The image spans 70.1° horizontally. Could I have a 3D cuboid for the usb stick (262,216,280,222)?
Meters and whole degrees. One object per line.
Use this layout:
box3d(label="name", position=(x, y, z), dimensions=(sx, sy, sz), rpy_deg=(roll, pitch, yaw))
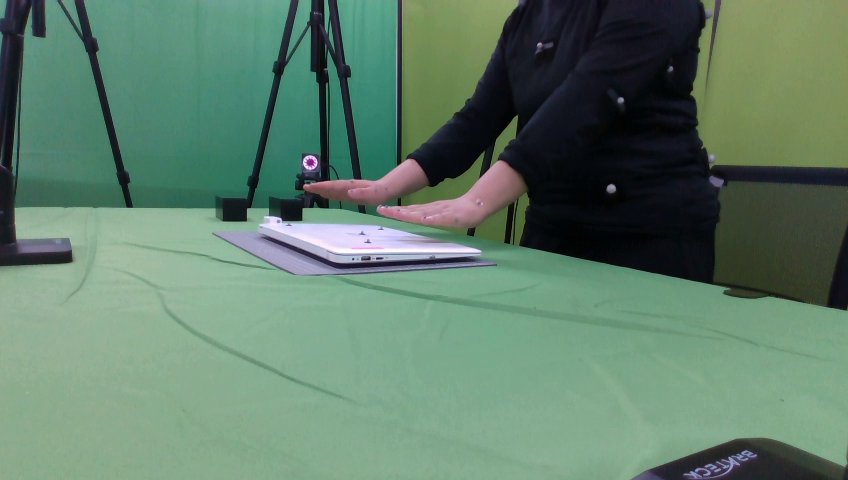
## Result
box3d(label="usb stick", position=(-0.271, -0.028, 1.079), dimensions=(0.021, 0.027, 0.059), rpy_deg=(-5, 12, -29))

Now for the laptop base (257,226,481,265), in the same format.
box3d(label="laptop base", position=(-0.103, 0.007, 0.961), dimensions=(0.237, 0.023, 0.352), rpy_deg=(2, 6, -32))

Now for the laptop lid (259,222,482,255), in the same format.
box3d(label="laptop lid", position=(-0.100, -0.005, 0.961), dimensions=(0.243, 0.013, 0.355), rpy_deg=(1, 7, -30))
